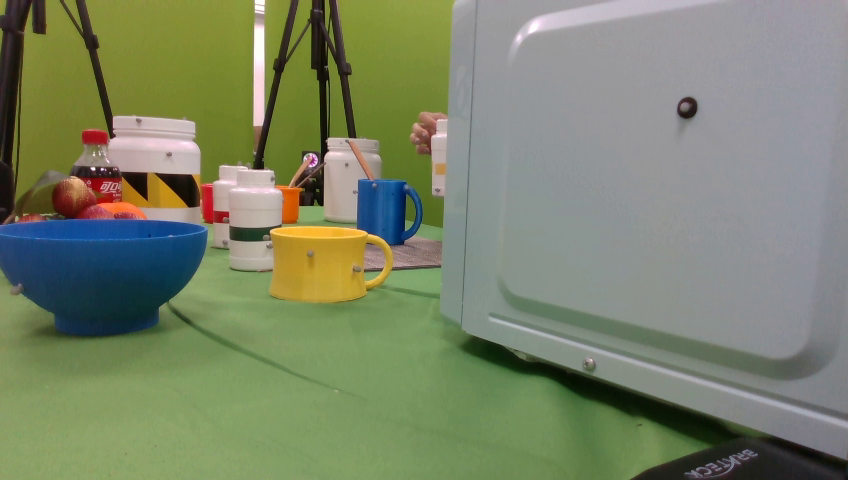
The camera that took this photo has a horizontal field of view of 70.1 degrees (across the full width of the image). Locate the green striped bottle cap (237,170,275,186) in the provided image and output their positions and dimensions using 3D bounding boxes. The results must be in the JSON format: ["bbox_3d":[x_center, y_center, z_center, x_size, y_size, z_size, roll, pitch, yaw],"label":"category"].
[{"bbox_3d":[-0.205,-0.075,0.737,0.044,0.020,0.044,1,7,0],"label":"green striped bottle cap"}]

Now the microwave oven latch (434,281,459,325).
[{"bbox_3d":[0.044,0.045,0.470,0.079,0.029,0.030,-2,8,-39],"label":"microwave oven latch"}]

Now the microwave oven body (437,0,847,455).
[{"bbox_3d":[0.279,-0.040,0.465,0.444,0.260,0.324,-3,9,-41],"label":"microwave oven body"}]

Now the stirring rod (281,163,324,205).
[{"bbox_3d":[-0.278,-0.105,1.293,0.176,0.006,0.014,-47,24,-18],"label":"stirring rod"}]

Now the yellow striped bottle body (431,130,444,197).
[{"bbox_3d":[0.043,-0.132,0.969,0.063,0.120,0.063,-2,10,1],"label":"yellow striped bottle body"}]

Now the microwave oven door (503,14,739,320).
[{"bbox_3d":[0.217,-0.065,0.601,0.358,0.243,0.039,-4,10,-41],"label":"microwave oven door"}]

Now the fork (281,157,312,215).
[{"bbox_3d":[-0.289,-0.116,1.321,0.028,0.019,0.207,6,51,19],"label":"fork"}]

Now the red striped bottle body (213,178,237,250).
[{"bbox_3d":[-0.284,-0.048,0.909,0.063,0.119,0.063,3,10,0],"label":"red striped bottle body"}]

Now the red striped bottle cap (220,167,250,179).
[{"bbox_3d":[-0.281,-0.100,0.901,0.044,0.017,0.044,-1,5,0],"label":"red striped bottle cap"}]

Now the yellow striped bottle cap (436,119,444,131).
[{"bbox_3d":[0.041,-0.183,0.961,0.044,0.018,0.044,0,11,0],"label":"yellow striped bottle cap"}]

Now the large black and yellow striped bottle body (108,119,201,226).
[{"bbox_3d":[-0.412,-0.088,0.930,0.131,0.184,0.130,3,7,0],"label":"large black and yellow striped bottle body"}]

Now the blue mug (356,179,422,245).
[{"bbox_3d":[-0.057,-0.047,1.006,0.116,0.106,0.082,5,8,21],"label":"blue mug"}]

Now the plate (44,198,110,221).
[{"bbox_3d":[-0.617,-0.056,1.179,0.209,0.038,0.209,3,7,0],"label":"plate"}]

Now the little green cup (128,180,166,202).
[{"bbox_3d":[-0.485,-0.087,1.062,0.061,0.038,0.061,-1,6,0],"label":"little green cup"}]

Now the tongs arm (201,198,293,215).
[{"bbox_3d":[-0.423,-0.084,1.472,0.050,0.026,0.386,2,6,21],"label":"tongs arm"}]

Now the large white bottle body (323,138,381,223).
[{"bbox_3d":[-0.163,-0.135,1.368,0.131,0.184,0.130,2,7,0],"label":"large white bottle body"}]

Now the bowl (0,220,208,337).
[{"bbox_3d":[-0.251,0.029,0.479,0.151,0.077,0.151,2,7,0],"label":"bowl"}]

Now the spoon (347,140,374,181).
[{"bbox_3d":[-0.089,-0.094,1.028,0.042,0.193,0.021,-4,-26,-45],"label":"spoon"}]

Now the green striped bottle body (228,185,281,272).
[{"bbox_3d":[-0.208,-0.023,0.745,0.063,0.119,0.063,2,7,0],"label":"green striped bottle body"}]

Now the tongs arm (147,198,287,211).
[{"bbox_3d":[-0.504,-0.091,1.513,0.028,0.028,0.389,0,4,37],"label":"tongs arm"}]

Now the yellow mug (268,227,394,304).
[{"bbox_3d":[-0.094,0.023,0.629,0.131,0.064,0.099,0,7,-22],"label":"yellow mug"}]

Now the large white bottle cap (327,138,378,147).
[{"bbox_3d":[-0.160,-0.218,1.357,0.115,0.018,0.115,2,8,0],"label":"large white bottle cap"}]

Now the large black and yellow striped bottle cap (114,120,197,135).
[{"bbox_3d":[-0.407,-0.171,0.920,0.115,0.019,0.115,2,9,0],"label":"large black and yellow striped bottle cap"}]
